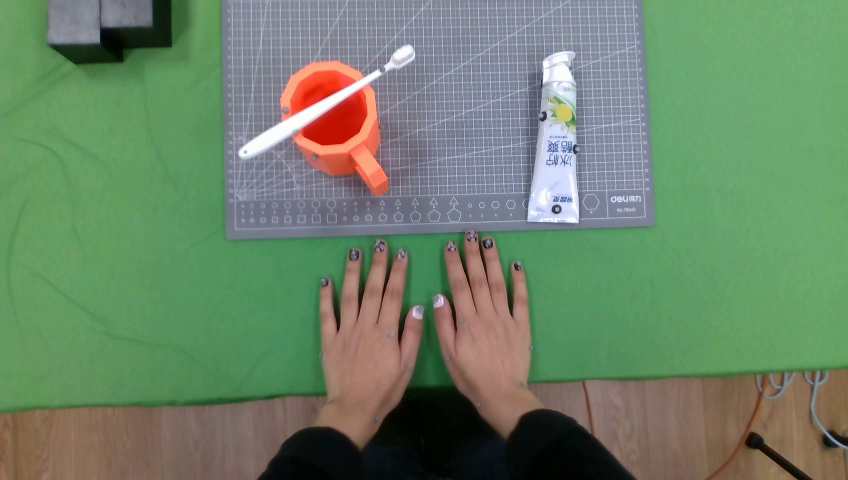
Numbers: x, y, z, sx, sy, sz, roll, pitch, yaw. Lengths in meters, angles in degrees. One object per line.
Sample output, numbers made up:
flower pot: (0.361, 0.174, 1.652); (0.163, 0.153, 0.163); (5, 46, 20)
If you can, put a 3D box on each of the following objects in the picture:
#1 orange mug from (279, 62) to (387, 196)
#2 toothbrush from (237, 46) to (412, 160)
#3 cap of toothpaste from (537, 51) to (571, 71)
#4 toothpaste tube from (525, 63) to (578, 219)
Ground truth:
orange mug: (-0.078, -0.100, 0.590); (0.083, 0.101, 0.126); (-36, 83, -5)
toothbrush: (-0.087, -0.122, 0.539); (0.182, 0.016, 0.014); (-33, 93, -5)
cap of toothpaste: (0.137, -0.186, 0.636); (0.037, 0.037, 0.011); (-11, 83, -4)
toothpaste tube: (0.135, -0.104, 0.636); (0.055, 0.034, 0.165); (1, 90, 5)
